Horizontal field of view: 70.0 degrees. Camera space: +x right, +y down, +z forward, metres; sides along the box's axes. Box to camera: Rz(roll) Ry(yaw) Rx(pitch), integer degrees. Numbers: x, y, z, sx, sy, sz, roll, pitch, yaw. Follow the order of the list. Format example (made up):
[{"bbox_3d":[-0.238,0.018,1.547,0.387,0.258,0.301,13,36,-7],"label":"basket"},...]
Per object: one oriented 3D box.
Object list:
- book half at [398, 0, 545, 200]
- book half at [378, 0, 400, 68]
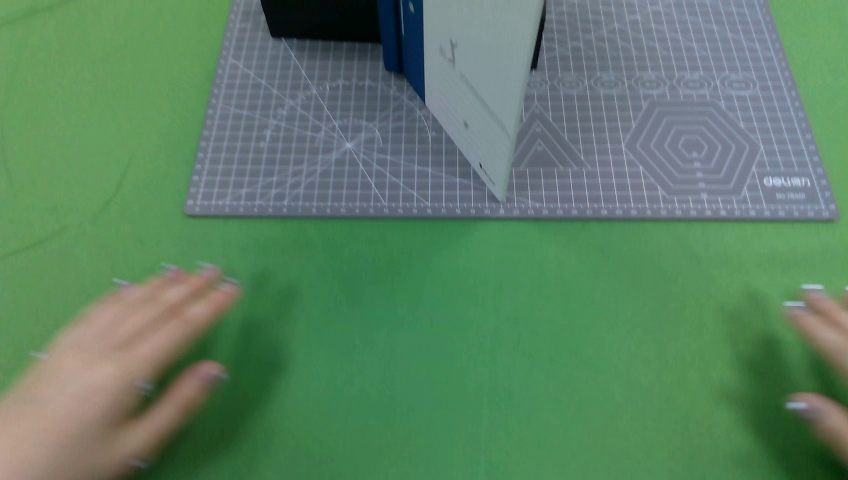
[{"bbox_3d":[0.018,-0.130,0.355,0.007,0.212,0.142,-27,65,-14],"label":"book half"},{"bbox_3d":[-0.012,-0.246,0.415,0.016,0.212,0.147,10,63,5],"label":"book half"}]
